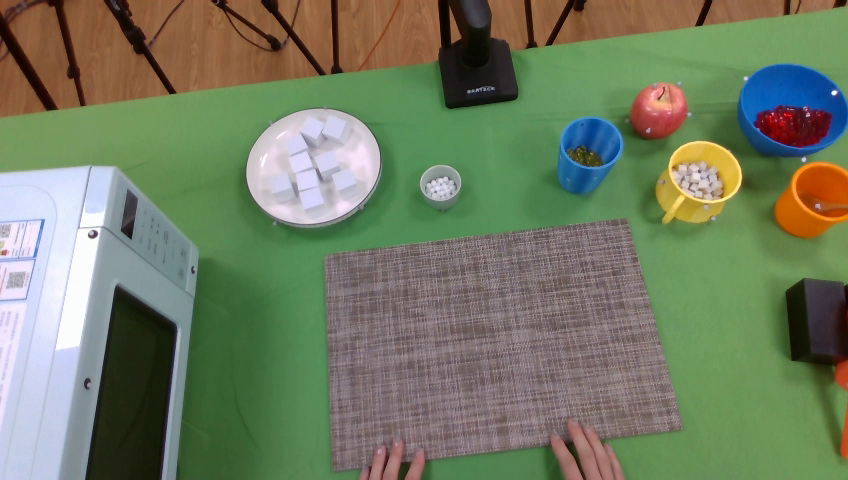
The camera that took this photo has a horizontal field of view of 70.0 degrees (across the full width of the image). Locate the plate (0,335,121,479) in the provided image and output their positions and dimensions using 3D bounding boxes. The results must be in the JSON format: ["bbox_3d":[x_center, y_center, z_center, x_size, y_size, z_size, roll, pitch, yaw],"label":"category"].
[{"bbox_3d":[-0.471,0.220,0.739,0.209,0.038,0.207,-1,67,2],"label":"plate"}]

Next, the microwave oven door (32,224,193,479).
[{"bbox_3d":[-0.340,0.190,0.682,0.039,0.245,0.353,-4,67,2],"label":"microwave oven door"}]

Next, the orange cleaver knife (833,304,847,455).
[{"bbox_3d":[0.530,0.157,0.752,0.012,0.077,0.211,7,97,9],"label":"orange cleaver knife"}]

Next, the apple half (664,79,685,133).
[{"bbox_3d":[0.375,-0.201,0.917,0.033,0.082,0.080,-2,66,6],"label":"apple half"}]

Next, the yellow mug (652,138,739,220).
[{"bbox_3d":[0.379,-0.078,0.870,0.099,0.064,0.130,39,76,18],"label":"yellow mug"}]

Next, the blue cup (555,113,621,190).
[{"bbox_3d":[0.229,-0.120,0.878,0.092,0.101,0.092,-1,68,2],"label":"blue cup"}]

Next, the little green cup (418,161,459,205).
[{"bbox_3d":[0.023,-0.083,0.908,0.061,0.039,0.061,-1,66,3],"label":"little green cup"}]

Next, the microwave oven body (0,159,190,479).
[{"bbox_3d":[-0.488,0.164,0.708,0.326,0.262,0.438,-4,67,1],"label":"microwave oven body"}]

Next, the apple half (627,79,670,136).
[{"bbox_3d":[0.336,-0.199,0.920,0.053,0.075,0.080,-3,70,6],"label":"apple half"}]

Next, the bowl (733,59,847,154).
[{"bbox_3d":[0.528,-0.183,0.899,0.151,0.077,0.150,-1,68,4],"label":"bowl"}]

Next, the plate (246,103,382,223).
[{"bbox_3d":[-0.167,-0.116,0.933,0.207,0.039,0.206,-1,67,3],"label":"plate"}]

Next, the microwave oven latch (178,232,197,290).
[{"bbox_3d":[-0.343,0.030,0.861,0.030,0.030,0.078,-2,68,2],"label":"microwave oven latch"}]

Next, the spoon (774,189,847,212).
[{"bbox_3d":[0.562,-0.046,0.800,0.041,0.192,0.022,-47,116,-15],"label":"spoon"}]
